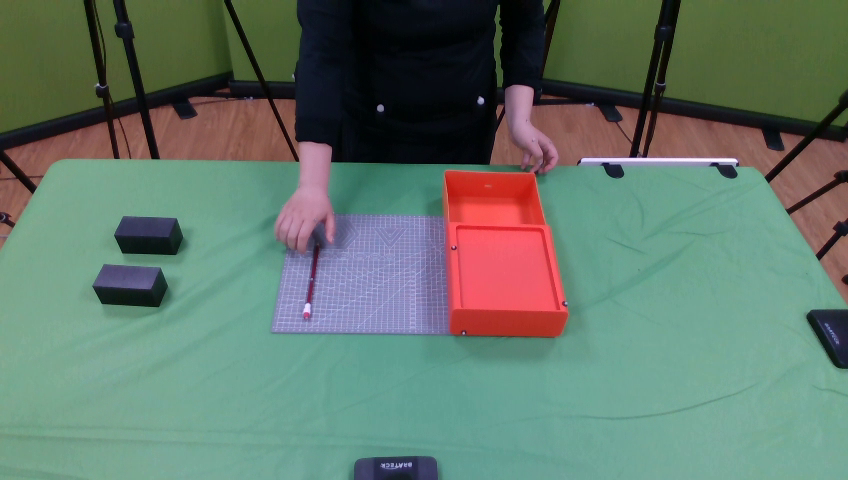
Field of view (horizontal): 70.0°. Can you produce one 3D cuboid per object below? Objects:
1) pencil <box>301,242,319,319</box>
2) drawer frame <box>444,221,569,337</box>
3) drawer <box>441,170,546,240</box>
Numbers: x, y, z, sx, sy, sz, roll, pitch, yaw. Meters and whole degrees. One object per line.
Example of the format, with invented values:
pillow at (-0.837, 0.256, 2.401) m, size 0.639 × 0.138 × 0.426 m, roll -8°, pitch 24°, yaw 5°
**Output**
pencil at (-0.207, 0.070, 1.119) m, size 0.012 × 0.012 × 0.193 m, roll 2°, pitch 43°, yaw -2°
drawer frame at (0.141, 0.067, 1.097) m, size 0.202 × 0.083 × 0.212 m, roll 2°, pitch 46°, yaw -4°
drawer at (0.137, -0.048, 1.214) m, size 0.195 × 0.073 × 0.210 m, roll 2°, pitch 44°, yaw -4°
